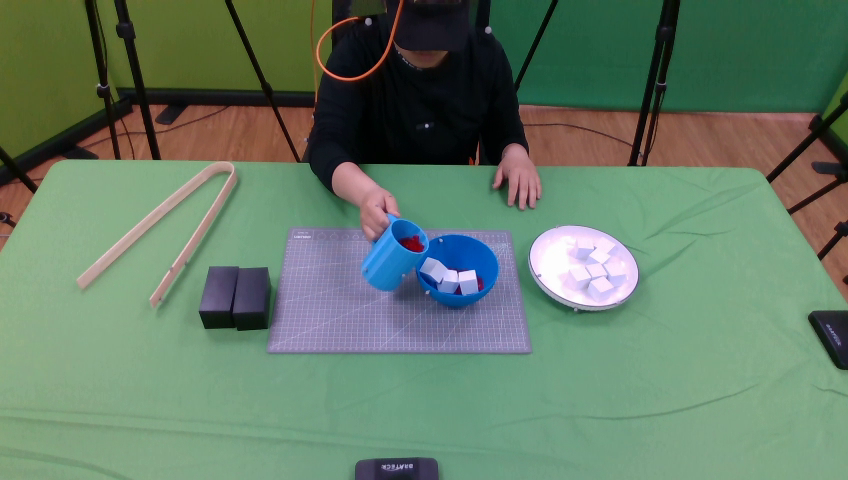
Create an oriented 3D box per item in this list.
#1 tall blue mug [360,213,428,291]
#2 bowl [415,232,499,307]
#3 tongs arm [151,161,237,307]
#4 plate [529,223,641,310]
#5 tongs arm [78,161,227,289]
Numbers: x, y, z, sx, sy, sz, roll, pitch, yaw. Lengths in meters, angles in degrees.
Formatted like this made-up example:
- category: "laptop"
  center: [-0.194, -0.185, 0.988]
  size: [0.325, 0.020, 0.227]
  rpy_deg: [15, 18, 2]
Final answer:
- category: "tall blue mug"
  center: [-0.062, 0.014, 1.036]
  size: [0.107, 0.108, 0.078]
  rpy_deg: [47, 37, 10]
- category: "bowl"
  center: [0.057, 0.067, 1.093]
  size: [0.151, 0.077, 0.150]
  rpy_deg: [2, 46, -2]
- category: "tongs arm"
  center: [-0.447, -0.026, 1.180]
  size: [0.051, 0.027, 0.383]
  rpy_deg: [8, 46, 10]
- category: "plate"
  center: [0.303, 0.053, 1.156]
  size: [0.209, 0.038, 0.208]
  rpy_deg: [2, 46, -1]
- category: "tongs arm"
  center: [-0.524, -0.043, 1.196]
  size: [0.028, 0.028, 0.386]
  rpy_deg: [15, 47, 22]
